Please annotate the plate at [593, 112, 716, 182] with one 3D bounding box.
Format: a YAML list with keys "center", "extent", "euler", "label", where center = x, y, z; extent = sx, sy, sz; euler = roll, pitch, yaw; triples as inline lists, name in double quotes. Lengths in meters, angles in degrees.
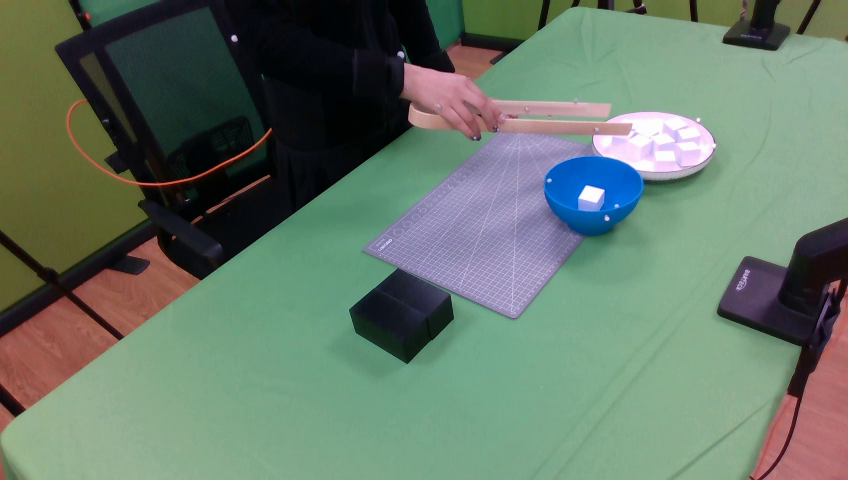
- center: [0.408, -0.163, 1.084]
  extent: [0.207, 0.039, 0.206]
  euler: [-4, 40, 4]
  label: "plate"

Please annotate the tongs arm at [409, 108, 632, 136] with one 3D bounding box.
- center: [0.169, -0.194, 1.007]
  extent: [0.389, 0.028, 0.028]
  euler: [0, 40, -13]
  label: "tongs arm"

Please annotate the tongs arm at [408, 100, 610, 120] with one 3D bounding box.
- center: [0.158, -0.220, 1.043]
  extent: [0.387, 0.026, 0.050]
  euler: [-1, 37, -15]
  label: "tongs arm"

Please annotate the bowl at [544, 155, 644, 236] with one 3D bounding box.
- center: [0.266, -0.061, 0.957]
  extent: [0.151, 0.077, 0.150]
  euler: [-5, 40, 5]
  label: "bowl"
